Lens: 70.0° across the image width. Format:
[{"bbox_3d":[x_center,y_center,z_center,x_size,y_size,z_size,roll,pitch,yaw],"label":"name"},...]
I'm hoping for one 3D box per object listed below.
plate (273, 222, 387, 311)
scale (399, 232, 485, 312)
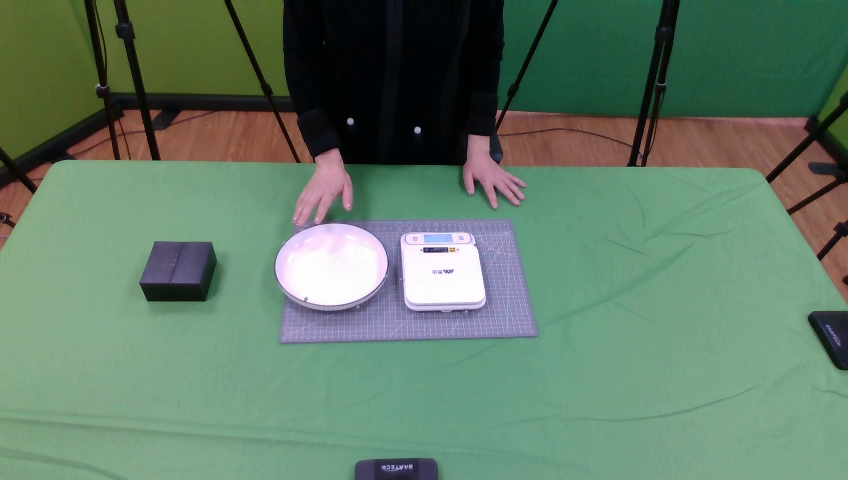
[{"bbox_3d":[-0.172,0.051,1.120,0.209,0.038,0.208,2,46,-2],"label":"plate"},{"bbox_3d":[0.031,0.050,1.141,0.149,0.032,0.199,-1,46,-5],"label":"scale"}]
